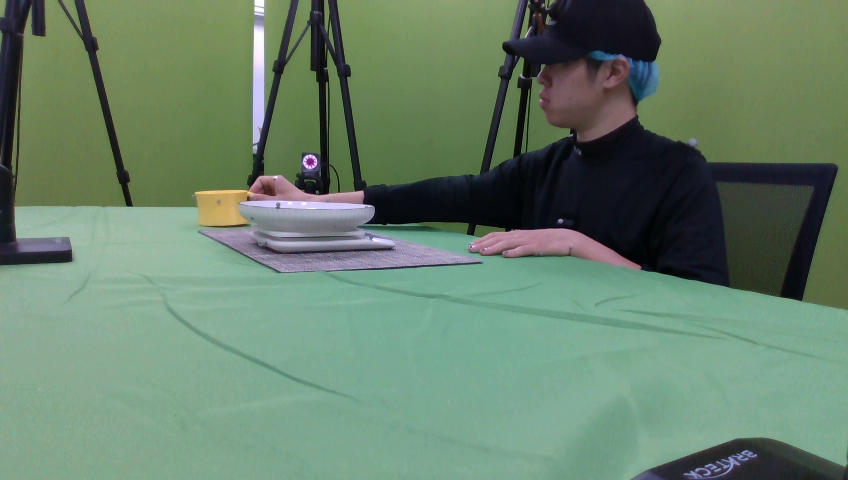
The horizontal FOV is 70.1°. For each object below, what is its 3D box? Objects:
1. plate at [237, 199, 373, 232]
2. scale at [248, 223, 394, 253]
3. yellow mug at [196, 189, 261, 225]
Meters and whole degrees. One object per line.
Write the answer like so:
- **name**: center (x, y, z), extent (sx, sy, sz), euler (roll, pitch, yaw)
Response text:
- **plate**: center (-0.183, -0.039, 0.941), extent (0.209, 0.038, 0.209), euler (3, 7, 0)
- **scale**: center (-0.162, -0.006, 0.954), extent (0.202, 0.031, 0.148), euler (-1, 9, -32)
- **yellow mug**: center (-0.390, -0.069, 1.222), extent (0.131, 0.064, 0.099), euler (-5, 9, -33)
